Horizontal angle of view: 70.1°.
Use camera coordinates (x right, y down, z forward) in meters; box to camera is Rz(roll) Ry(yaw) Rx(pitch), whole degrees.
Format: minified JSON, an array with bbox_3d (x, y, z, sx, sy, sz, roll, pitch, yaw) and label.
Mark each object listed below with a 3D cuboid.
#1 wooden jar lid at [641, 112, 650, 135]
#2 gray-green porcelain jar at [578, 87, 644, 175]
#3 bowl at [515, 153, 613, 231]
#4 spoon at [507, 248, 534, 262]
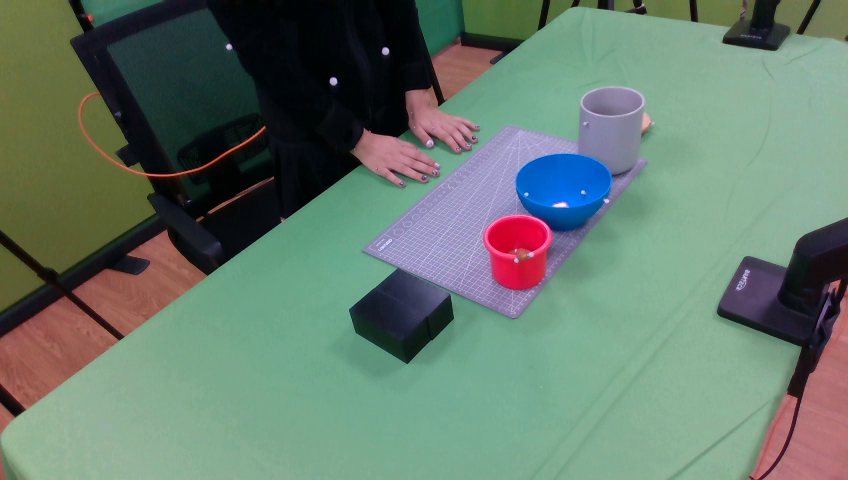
[{"bbox_3d":[0.382,-0.225,1.178,0.108,0.021,0.108,-5,40,4],"label":"wooden jar lid"},{"bbox_3d":[0.324,-0.185,1.055,0.106,0.127,0.105,-5,40,5],"label":"gray-green porcelain jar"},{"bbox_3d":[0.224,-0.068,0.972,0.151,0.077,0.150,-5,40,5],"label":"bowl"},{"bbox_3d":[0.135,0.020,0.835,0.041,0.021,0.194,-3,-4,8],"label":"spoon"}]
